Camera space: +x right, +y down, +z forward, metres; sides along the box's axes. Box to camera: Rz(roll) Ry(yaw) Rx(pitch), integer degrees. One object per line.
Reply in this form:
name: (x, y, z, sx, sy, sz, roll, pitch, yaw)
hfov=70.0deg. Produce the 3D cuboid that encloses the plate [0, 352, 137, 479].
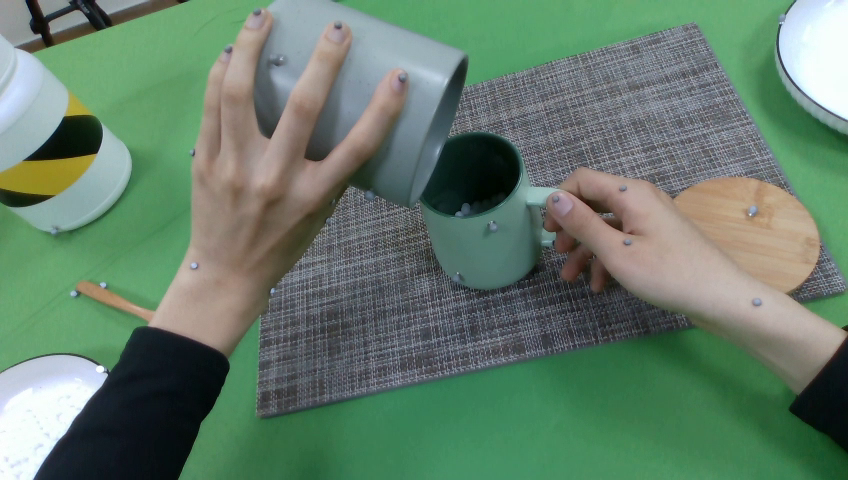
plate: (-0.322, 0.193, 0.487, 0.209, 0.038, 0.207, -7, 57, 12)

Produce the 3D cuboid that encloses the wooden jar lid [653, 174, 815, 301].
wooden jar lid: (0.229, -0.001, 0.454, 0.108, 0.021, 0.107, -8, 58, 13)

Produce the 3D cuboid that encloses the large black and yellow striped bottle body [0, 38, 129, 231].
large black and yellow striped bottle body: (-0.410, -0.107, 0.608, 0.130, 0.186, 0.129, -7, 58, 12)

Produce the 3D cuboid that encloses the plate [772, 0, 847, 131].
plate: (0.397, -0.154, 0.493, 0.207, 0.039, 0.205, -7, 58, 12)

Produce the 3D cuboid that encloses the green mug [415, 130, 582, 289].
green mug: (0.057, -0.020, 0.464, 0.125, 0.106, 0.092, 5, 60, 19)

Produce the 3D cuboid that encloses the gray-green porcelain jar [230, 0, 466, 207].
gray-green porcelain jar: (-0.050, -0.092, 0.393, 0.126, 0.106, 0.105, 22, 66, 3)

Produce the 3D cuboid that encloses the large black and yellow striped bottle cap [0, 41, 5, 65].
large black and yellow striped bottle cap: (-0.431, -0.149, 0.539, 0.115, 0.019, 0.114, -8, 56, 12)

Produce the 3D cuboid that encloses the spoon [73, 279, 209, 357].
spoon: (-0.267, 0.063, 0.561, 0.192, 0.022, 0.041, 16, 81, 24)
